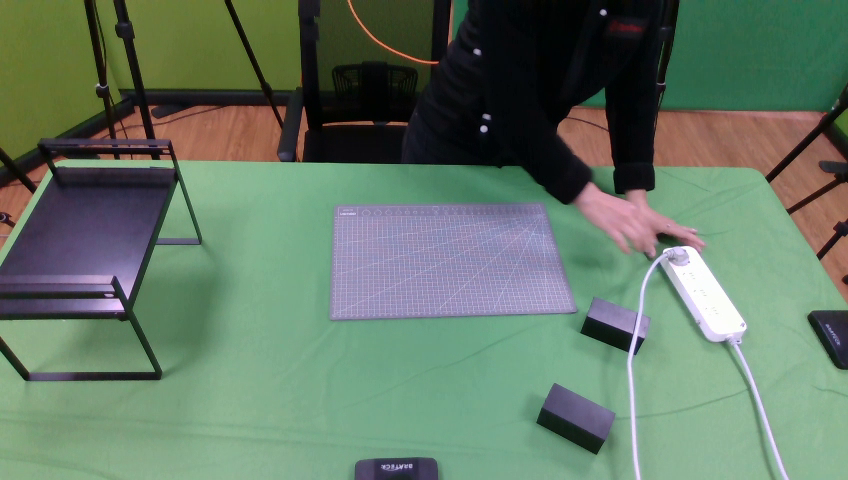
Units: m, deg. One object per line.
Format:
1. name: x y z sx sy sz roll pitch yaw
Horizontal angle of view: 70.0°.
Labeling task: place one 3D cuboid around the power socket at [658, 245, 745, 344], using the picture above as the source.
1. power socket: 0.516 0.095 1.136 0.072 0.033 0.225 -6 48 -9

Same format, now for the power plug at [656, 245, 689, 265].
1. power plug: 0.473 0.032 1.167 0.072 0.053 0.035 1 46 0
